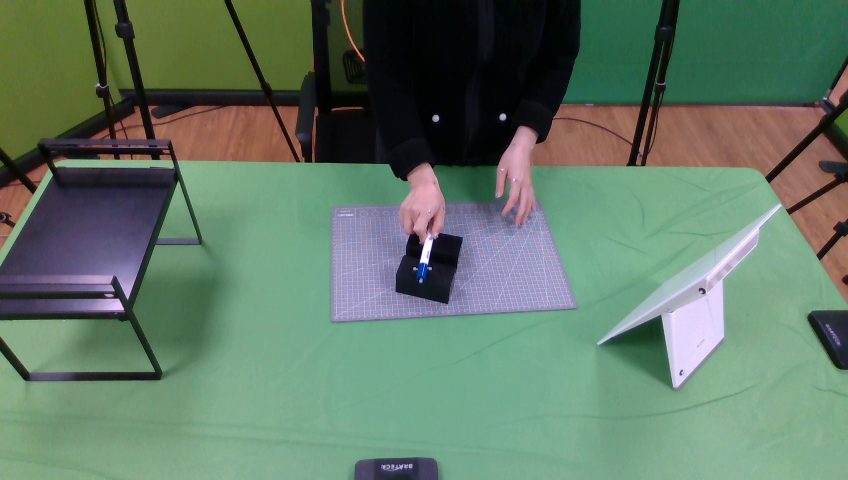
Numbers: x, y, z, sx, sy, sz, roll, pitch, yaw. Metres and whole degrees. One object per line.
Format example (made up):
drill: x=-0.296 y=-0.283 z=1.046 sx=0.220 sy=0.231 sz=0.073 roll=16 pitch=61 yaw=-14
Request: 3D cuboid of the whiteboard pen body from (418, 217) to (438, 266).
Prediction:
whiteboard pen body: x=0.006 y=0.012 z=1.108 sx=0.017 sy=0.017 sz=0.140 roll=10 pitch=50 yaw=6

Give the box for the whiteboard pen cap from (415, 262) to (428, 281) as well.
whiteboard pen cap: x=-0.004 y=0.056 z=1.071 sx=0.018 sy=0.018 sz=0.033 roll=9 pitch=50 yaw=5

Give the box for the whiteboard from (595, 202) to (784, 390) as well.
whiteboard: x=0.459 y=0.112 z=0.968 sx=0.217 sy=0.306 sz=0.143 roll=-31 pitch=75 yaw=-29
